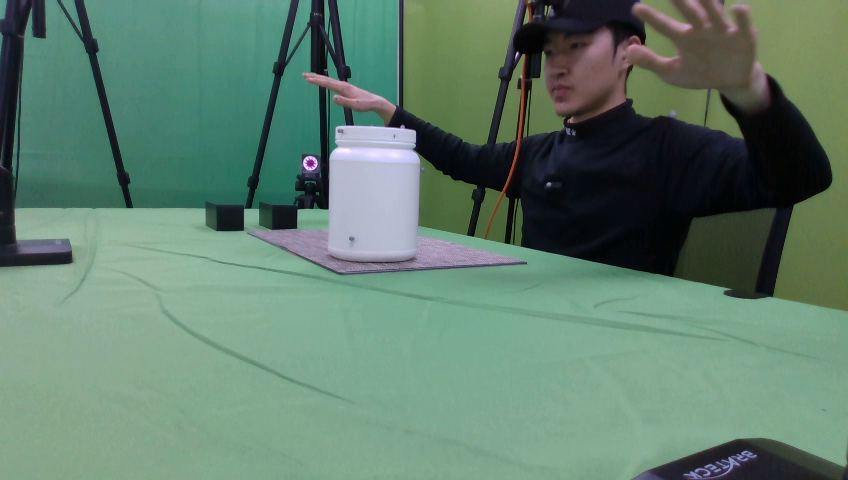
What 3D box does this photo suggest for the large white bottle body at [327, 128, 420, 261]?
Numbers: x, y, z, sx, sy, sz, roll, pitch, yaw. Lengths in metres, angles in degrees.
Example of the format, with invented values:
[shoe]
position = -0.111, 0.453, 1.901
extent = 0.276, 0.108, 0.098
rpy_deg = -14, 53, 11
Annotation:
[large white bottle body]
position = -0.072, -0.069, 0.870
extent = 0.131, 0.184, 0.130
rpy_deg = 2, 8, 0

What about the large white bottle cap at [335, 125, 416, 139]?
[large white bottle cap]
position = -0.069, -0.151, 0.859
extent = 0.115, 0.018, 0.115
rpy_deg = 2, 8, 0
